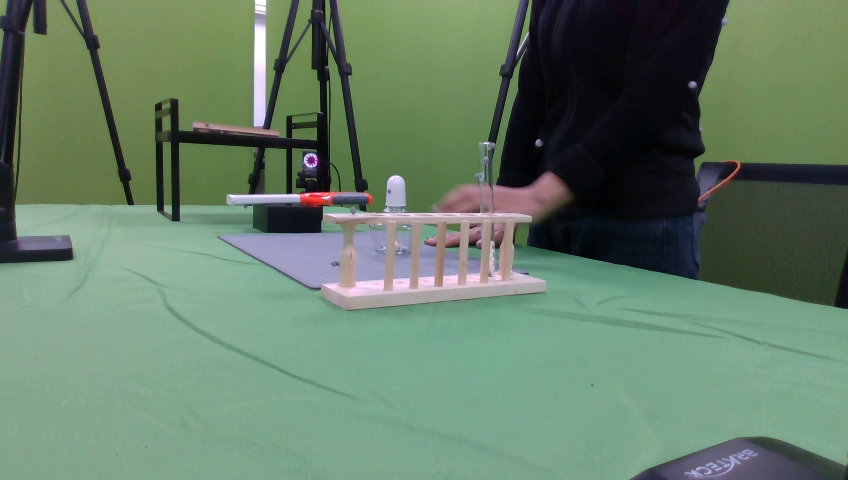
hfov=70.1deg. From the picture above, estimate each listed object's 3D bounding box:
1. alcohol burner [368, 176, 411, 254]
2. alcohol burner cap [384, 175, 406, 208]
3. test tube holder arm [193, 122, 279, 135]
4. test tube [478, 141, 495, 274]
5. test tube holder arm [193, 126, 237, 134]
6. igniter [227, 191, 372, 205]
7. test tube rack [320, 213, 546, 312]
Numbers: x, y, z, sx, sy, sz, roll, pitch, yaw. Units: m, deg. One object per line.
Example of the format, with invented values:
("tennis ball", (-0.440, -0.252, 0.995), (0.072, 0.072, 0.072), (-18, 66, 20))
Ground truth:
("alcohol burner", (-0.045, -0.038, 0.913), (0.078, 0.119, 0.078), (5, 7, 0))
("alcohol burner cap", (-0.044, -0.073, 0.908), (0.034, 0.048, 0.034), (0, 12, 0))
("test tube holder arm", (-0.401, -0.238, 1.301), (0.179, 0.015, 0.013), (-2, -21, -29))
("test tube", (0.071, -0.035, 0.683), (0.017, 0.150, 0.017), (-2, 8, 1))
("test tube holder arm", (-0.443, -0.235, 1.284), (0.088, 0.015, 0.010), (-2, -21, -28))
("igniter", (-0.232, -0.080, 1.162), (0.278, 0.025, 0.057), (-3, 12, -28))
("test tube rack", (0.017, 0.017, 0.638), (0.244, 0.085, 0.066), (-2, 9, -31))
